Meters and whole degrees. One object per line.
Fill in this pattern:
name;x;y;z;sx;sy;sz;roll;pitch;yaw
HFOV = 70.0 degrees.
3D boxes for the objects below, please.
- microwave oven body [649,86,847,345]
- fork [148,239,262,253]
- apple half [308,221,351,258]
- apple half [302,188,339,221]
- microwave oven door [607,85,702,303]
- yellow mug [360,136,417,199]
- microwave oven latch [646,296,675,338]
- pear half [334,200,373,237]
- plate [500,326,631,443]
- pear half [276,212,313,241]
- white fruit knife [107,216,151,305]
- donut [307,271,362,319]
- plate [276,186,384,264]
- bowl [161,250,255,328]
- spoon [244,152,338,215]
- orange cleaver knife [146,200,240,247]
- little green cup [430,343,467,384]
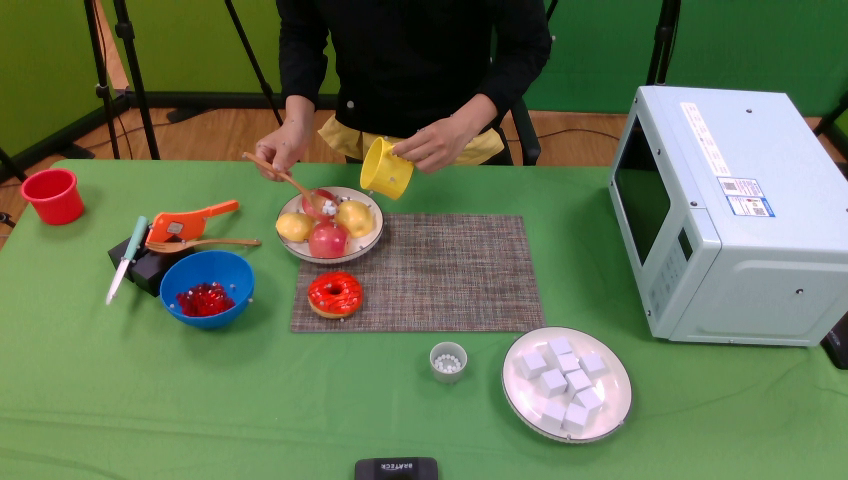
microwave oven body;0.568;-0.053;1.118;0.326;0.261;0.439;2;45;-1
fork;-0.398;0.008;1.117;0.208;0.019;0.028;-5;34;-37
apple half;-0.180;-0.005;1.150;0.074;0.053;0.080;14;44;9
apple half;-0.204;-0.076;1.216;0.081;0.033;0.081;18;44;-18
microwave oven door;0.423;-0.094;1.140;0.039;0.245;0.353;2;46;-1
yellow mug;-0.061;-0.137;1.095;0.064;0.131;0.099;18;61;-24
microwave oven latch;0.412;0.134;1.061;0.030;0.029;0.078;4;45;1
pear half;-0.147;-0.059;1.209;0.076;0.056;0.109;-16;44;-25
plate;0.224;0.234;0.978;0.208;0.039;0.206;2;46;-2
pear half;-0.244;-0.034;1.179;0.070;0.031;0.088;40;42;1
white fruit knife;-0.518;0.032;1.066;0.027;0.016;0.206;-19;45;19
donut;-0.157;0.097;1.072;0.099;0.048;0.098;4;45;-4
plate;-0.184;-0.027;1.195;0.209;0.038;0.208;2;46;-2
bowl;-0.362;0.097;1.040;0.151;0.077;0.150;2;45;-2
spoon;-0.240;-0.104;1.101;0.194;0.021;0.041;37;46;-19
orange cleaver knife;-0.435;-0.033;1.157;0.012;0.077;0.211;31;26;18
little green cup;0.039;0.203;0.993;0.061;0.039;0.061;2;46;-2
